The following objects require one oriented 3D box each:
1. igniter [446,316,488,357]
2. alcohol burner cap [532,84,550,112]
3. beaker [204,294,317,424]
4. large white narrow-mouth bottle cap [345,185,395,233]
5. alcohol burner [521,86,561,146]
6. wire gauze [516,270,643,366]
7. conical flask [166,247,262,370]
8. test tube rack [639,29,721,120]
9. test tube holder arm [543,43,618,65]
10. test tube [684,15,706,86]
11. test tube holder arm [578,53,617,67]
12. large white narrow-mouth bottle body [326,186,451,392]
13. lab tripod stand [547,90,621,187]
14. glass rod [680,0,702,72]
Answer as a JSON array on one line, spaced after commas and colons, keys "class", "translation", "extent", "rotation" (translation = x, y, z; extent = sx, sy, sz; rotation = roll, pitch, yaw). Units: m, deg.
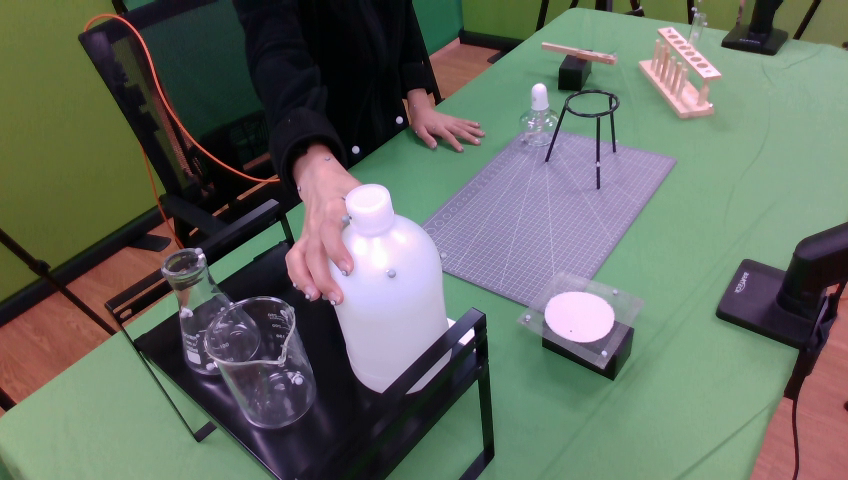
[{"class": "igniter", "translation": [-0.030, 0.095, 0.872], "extent": [0.274, 0.025, 0.057], "rotation": [23, 60, 31]}, {"class": "alcohol burner cap", "translation": [0.218, -0.268, 1.133], "extent": [0.034, 0.048, 0.033], "rotation": [-8, 36, 7]}, {"class": "beaker", "translation": [-0.137, 0.110, 0.536], "extent": [0.083, 0.101, 0.074], "rotation": [30, 53, 36]}, {"class": "large white narrow-mouth bottle cap", "translation": [-0.042, -0.025, 0.472], "extent": [0.038, 0.024, 0.037], "rotation": [-4, 41, 4]}, {"class": "alcohol burner", "translation": [0.223, -0.241, 1.155], "extent": [0.078, 0.119, 0.077], "rotation": [-5, 43, 5]}, {"class": "wire gauze", "translation": [0.200, 0.093, 0.777], "extent": [0.124, 0.011, 0.122], "rotation": [23, 49, 32]}, {"class": "conical flask", "translation": [-0.209, 0.063, 0.584], "extent": [0.075, 0.122, 0.075], "rotation": [-4, 41, 4]}, {"class": "test tube rack", "translation": [0.527, -0.351, 1.262], "extent": [0.067, 0.085, 0.241], "rotation": [-8, 40, 1]}, {"class": "test tube holder arm", "translation": [0.345, -0.413, 1.341], "extent": [0.177, 0.015, 0.013], "rotation": [25, 50, 31]}, {"class": "test tube", "translation": [0.540, -0.378, 1.215], "extent": [0.017, 0.151, 0.017], "rotation": [-2, 44, 3]}, {"class": "test tube holder arm", "translation": [0.375, -0.393, 1.314], "extent": [0.087, 0.015, 0.010], "rotation": [26, 50, 32]}, {"class": "large white narrow-mouth bottle body", "translation": [-0.032, 0.039, 0.528], "extent": [0.102, 0.195, 0.101], "rotation": [-5, 41, 4]}, {"class": "lab tripod stand", "translation": [0.289, -0.184, 1.062], "extent": [0.148, 0.132, 0.147], "rotation": [-6, 41, 6]}, {"class": "glass rod", "translation": [0.542, -0.417, 1.233], "extent": [0.008, 0.200, 0.008], "rotation": [1, 40, 0]}]
